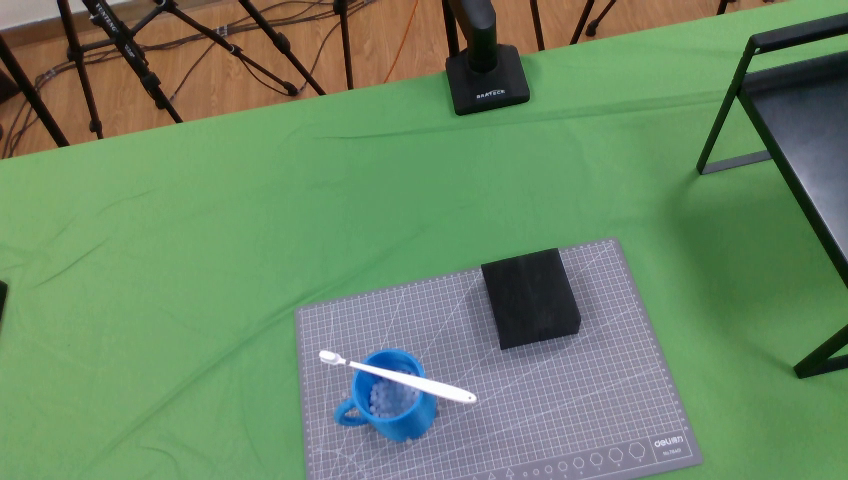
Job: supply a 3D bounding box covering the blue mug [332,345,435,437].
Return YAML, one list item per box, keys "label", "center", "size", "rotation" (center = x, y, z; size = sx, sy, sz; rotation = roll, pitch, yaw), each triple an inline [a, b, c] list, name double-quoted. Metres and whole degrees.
- label: "blue mug"
  center: [-0.049, 0.183, 0.701]
  size: [0.116, 0.107, 0.081]
  rotation: [-21, 61, -3]

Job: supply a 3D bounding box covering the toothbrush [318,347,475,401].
- label: "toothbrush"
  center: [-0.033, 0.143, 0.653]
  size: [0.181, 0.017, 0.014]
  rotation: [13, 60, 14]
